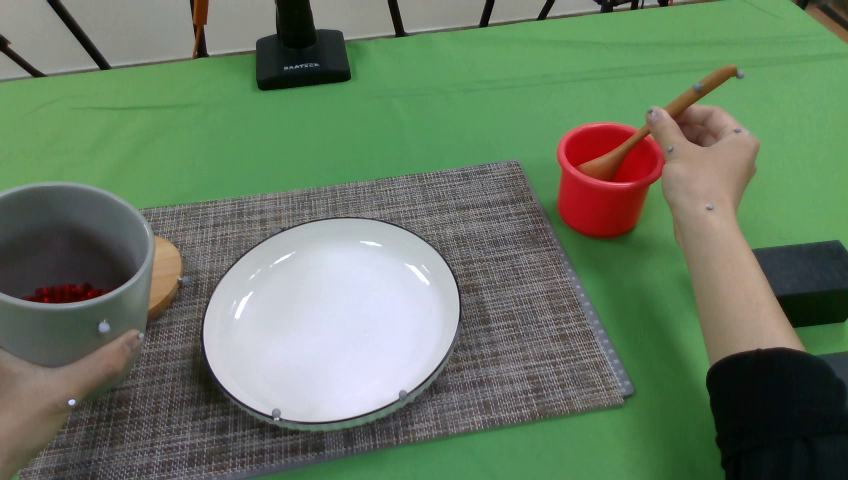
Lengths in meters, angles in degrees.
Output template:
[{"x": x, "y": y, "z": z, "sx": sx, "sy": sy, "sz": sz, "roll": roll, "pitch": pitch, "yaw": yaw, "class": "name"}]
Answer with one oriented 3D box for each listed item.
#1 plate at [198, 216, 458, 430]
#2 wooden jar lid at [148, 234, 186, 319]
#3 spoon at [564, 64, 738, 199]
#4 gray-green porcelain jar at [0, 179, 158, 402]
[{"x": -0.076, "y": 0.065, "z": 0.502, "sx": 0.208, "sy": 0.039, "sz": 0.205, "roll": 0, "pitch": 47, "yaw": 1, "class": "plate"}, {"x": -0.269, "y": 0.037, "z": 0.545, "sx": 0.108, "sy": 0.021, "sz": 0.107, "roll": 0, "pitch": 45, "yaw": 0, "class": "wooden jar lid"}, {"x": 0.195, "y": -0.093, "z": 0.544, "sx": 0.042, "sy": 0.194, "sz": 0.021, "roll": 36, "pitch": 45, "yaw": -9, "class": "spoon"}, {"x": -0.243, "y": 0.040, "z": 0.410, "sx": 0.106, "sy": 0.127, "sz": 0.105, "roll": 16, "pitch": 42, "yaw": -15, "class": "gray-green porcelain jar"}]
